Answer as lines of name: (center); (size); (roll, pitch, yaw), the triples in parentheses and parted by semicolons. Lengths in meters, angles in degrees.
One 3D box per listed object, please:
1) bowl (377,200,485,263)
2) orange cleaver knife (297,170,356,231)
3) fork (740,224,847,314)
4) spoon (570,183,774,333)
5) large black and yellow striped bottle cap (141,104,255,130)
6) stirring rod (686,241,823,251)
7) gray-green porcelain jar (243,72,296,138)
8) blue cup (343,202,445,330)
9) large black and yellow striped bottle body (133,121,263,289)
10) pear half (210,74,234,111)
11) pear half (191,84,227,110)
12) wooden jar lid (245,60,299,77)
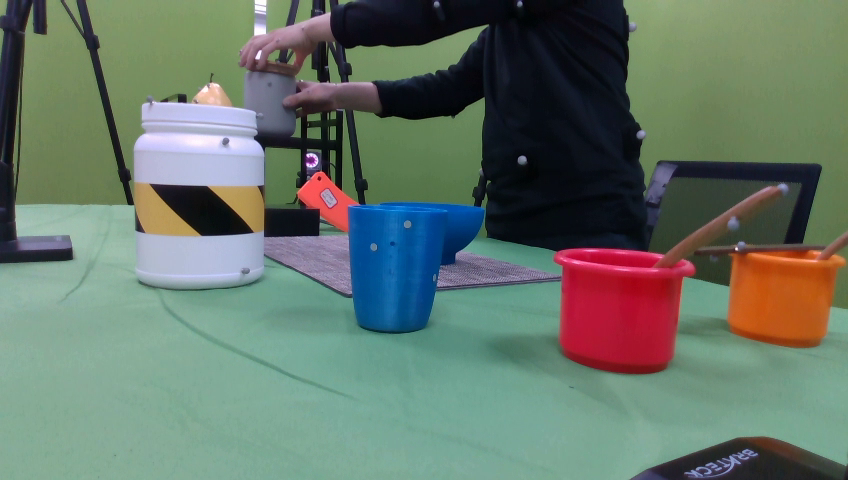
bowl: (0.008, -0.012, 0.842); (0.151, 0.077, 0.151); (2, 7, 0)
orange cleaver knife: (-0.150, -0.058, 1.170); (0.212, 0.077, 0.012); (33, -15, -32)
fork: (0.323, 0.013, 0.485); (0.028, 0.018, 0.207); (9, -38, -5)
spoon: (0.160, 0.020, 0.413); (0.042, 0.021, 0.193); (0, -36, -24)
large black and yellow striped bottle cap: (-0.241, -0.131, 0.650); (0.115, 0.019, 0.115); (3, 8, 0)
stirring rod: (0.289, 0.005, 0.525); (0.177, 0.006, 0.014); (-1, 5, -26)
gray-green porcelain jar: (-0.322, -0.279, 1.263); (0.106, 0.126, 0.106); (3, 8, 0)
blue cup: (-0.027, 0.021, 0.510); (0.093, 0.100, 0.092); (3, 5, 0)
large black and yellow striped bottle body: (-0.243, -0.048, 0.659); (0.131, 0.184, 0.130); (2, 7, 0)
pear half: (-0.401, -0.261, 1.162); (0.076, 0.109, 0.056); (7, 8, 2)
pear half: (-0.406, -0.248, 1.128); (0.070, 0.088, 0.031); (6, 6, 1)
wooden jar lid: (-0.312, -0.350, 1.241); (0.108, 0.020, 0.108); (7, 8, -1)
